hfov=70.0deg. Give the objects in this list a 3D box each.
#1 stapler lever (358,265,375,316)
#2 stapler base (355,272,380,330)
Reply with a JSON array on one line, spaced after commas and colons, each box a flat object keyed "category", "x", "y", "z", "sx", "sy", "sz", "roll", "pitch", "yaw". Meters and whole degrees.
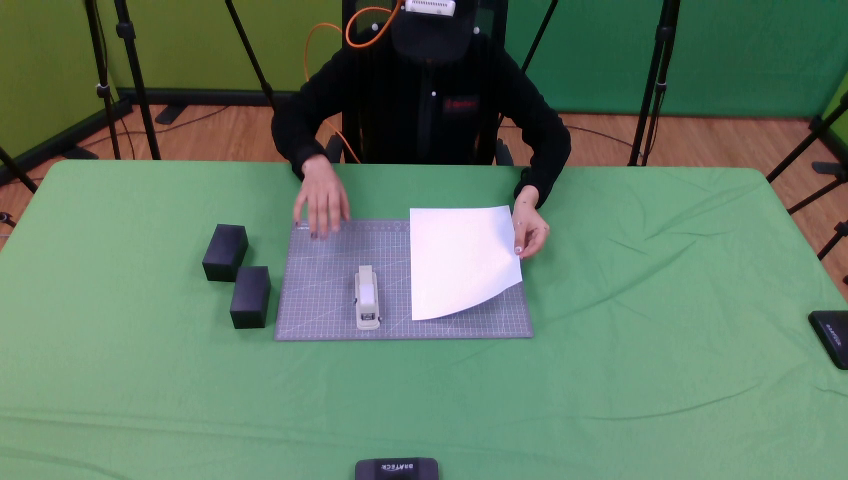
[{"category": "stapler lever", "x": -0.102, "y": 0.083, "z": 1.070, "sx": 0.027, "sy": 0.040, "sz": 0.117, "roll": -1, "pitch": 44, "yaw": -7}, {"category": "stapler base", "x": -0.103, "y": 0.102, "z": 1.087, "sx": 0.041, "sy": 0.024, "sz": 0.129, "roll": -1, "pitch": 45, "yaw": -8}]
